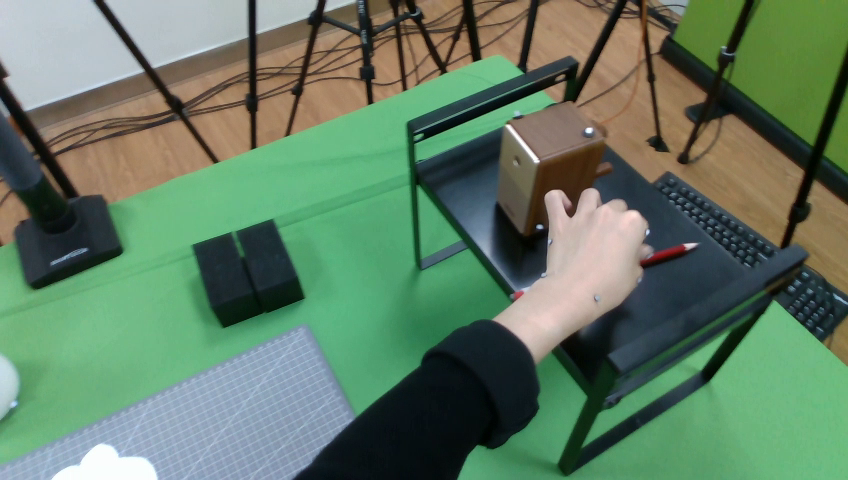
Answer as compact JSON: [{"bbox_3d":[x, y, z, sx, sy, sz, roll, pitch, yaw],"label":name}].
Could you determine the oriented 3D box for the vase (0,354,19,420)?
[{"bbox_3d":[-0.501,0.123,0.603,0.098,0.202,0.097,-1,52,2],"label":"vase"}]

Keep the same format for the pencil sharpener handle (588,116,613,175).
[{"bbox_3d":[0.166,-0.090,0.572,0.031,0.068,0.035,-21,43,-15],"label":"pencil sharpener handle"}]

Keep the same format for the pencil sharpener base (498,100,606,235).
[{"bbox_3d":[0.119,-0.067,0.571,0.077,0.108,0.060,-21,55,-15],"label":"pencil sharpener base"}]

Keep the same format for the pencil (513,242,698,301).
[{"bbox_3d":[0.172,0.027,0.561,0.194,0.012,0.012,-15,54,-13],"label":"pencil"}]
